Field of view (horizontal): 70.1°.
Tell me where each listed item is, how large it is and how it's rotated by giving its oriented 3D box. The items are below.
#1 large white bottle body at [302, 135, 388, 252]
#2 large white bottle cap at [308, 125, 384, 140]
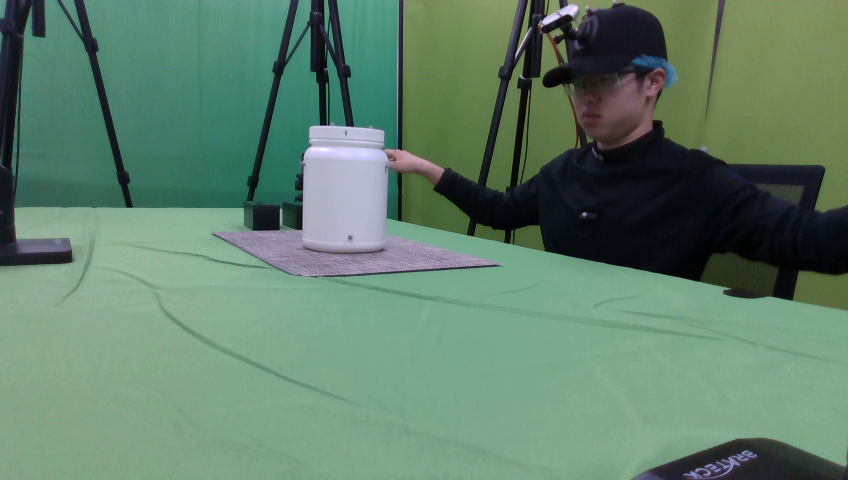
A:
[{"bbox_3d":[-0.122,-0.080,0.937,0.131,0.184,0.130,2,7,0],"label":"large white bottle body"},{"bbox_3d":[-0.119,-0.163,0.927,0.115,0.018,0.115,2,6,0],"label":"large white bottle cap"}]
